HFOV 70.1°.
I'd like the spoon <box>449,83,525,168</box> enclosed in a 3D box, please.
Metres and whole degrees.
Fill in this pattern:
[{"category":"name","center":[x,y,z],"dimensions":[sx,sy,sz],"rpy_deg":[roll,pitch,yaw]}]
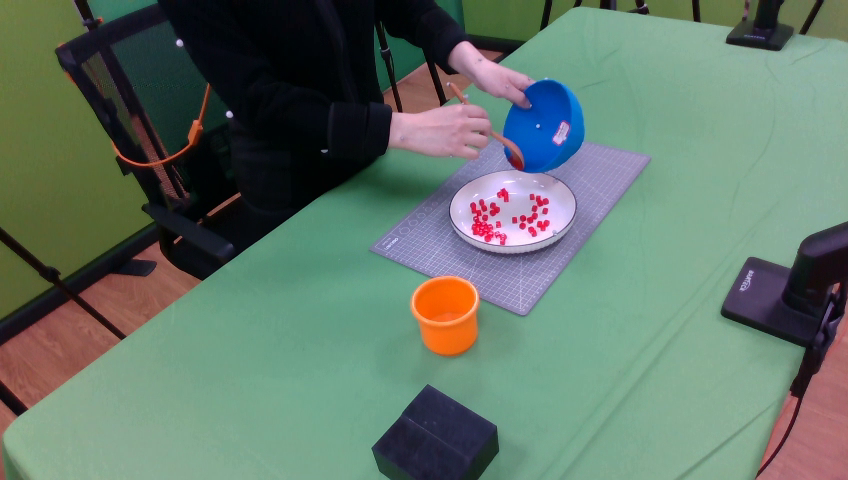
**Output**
[{"category":"spoon","center":[0.100,-0.174,0.929],"dimensions":[0.021,0.195,0.041],"rpy_deg":[-46,34,13]}]

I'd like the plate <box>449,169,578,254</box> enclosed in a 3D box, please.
[{"category":"plate","center":[0.146,-0.044,0.993],"dimensions":[0.209,0.038,0.208],"rpy_deg":[-5,40,5]}]

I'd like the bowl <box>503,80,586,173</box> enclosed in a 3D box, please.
[{"category":"bowl","center":[0.208,-0.176,0.982],"dimensions":[0.077,0.151,0.150],"rpy_deg":[9,28,-36]}]
